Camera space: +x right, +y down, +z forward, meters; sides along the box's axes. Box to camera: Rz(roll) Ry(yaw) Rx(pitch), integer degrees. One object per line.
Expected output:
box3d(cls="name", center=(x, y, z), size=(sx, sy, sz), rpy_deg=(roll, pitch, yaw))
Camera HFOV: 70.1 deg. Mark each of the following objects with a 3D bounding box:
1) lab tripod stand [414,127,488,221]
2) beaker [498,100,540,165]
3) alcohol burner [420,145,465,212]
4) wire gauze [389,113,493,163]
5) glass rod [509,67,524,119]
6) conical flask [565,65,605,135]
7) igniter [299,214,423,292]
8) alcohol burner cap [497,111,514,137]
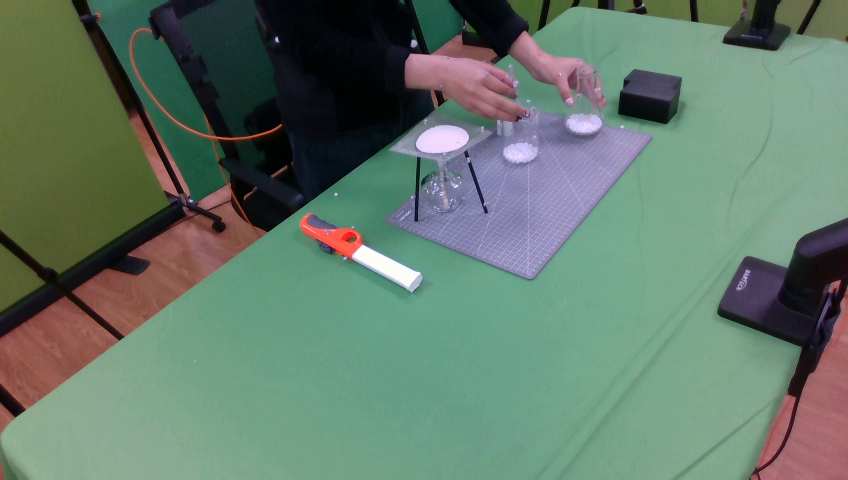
box3d(cls="lab tripod stand", center=(0.035, -0.114, 1.021), size=(0.148, 0.132, 0.147), rpy_deg=(-7, 39, 6))
box3d(cls="beaker", center=(0.180, -0.196, 1.117), size=(0.074, 0.101, 0.083), rpy_deg=(-25, 43, -17))
box3d(cls="alcohol burner", center=(0.030, -0.108, 1.030), size=(0.078, 0.119, 0.077), rpy_deg=(-5, 38, 4))
box3d(cls="wire gauze", center=(0.026, -0.164, 0.977), size=(0.120, 0.011, 0.125), rpy_deg=(23, 49, 35))
box3d(cls="glass rod", center=(0.159, -0.247, 1.035), size=(0.008, 0.201, 0.008), rpy_deg=(-3, 78, 14))
box3d(cls="conical flask", center=(0.305, -0.265, 1.138), size=(0.075, 0.122, 0.075), rpy_deg=(-5, 42, 5))
box3d(cls="igniter", center=(-0.112, 0.016, 0.983), size=(0.274, 0.025, 0.057), rpy_deg=(26, 62, 35))
box3d(cls="alcohol burner cap", center=(0.163, -0.235, 1.211), size=(0.034, 0.048, 0.033), rpy_deg=(-7, 40, 6))
